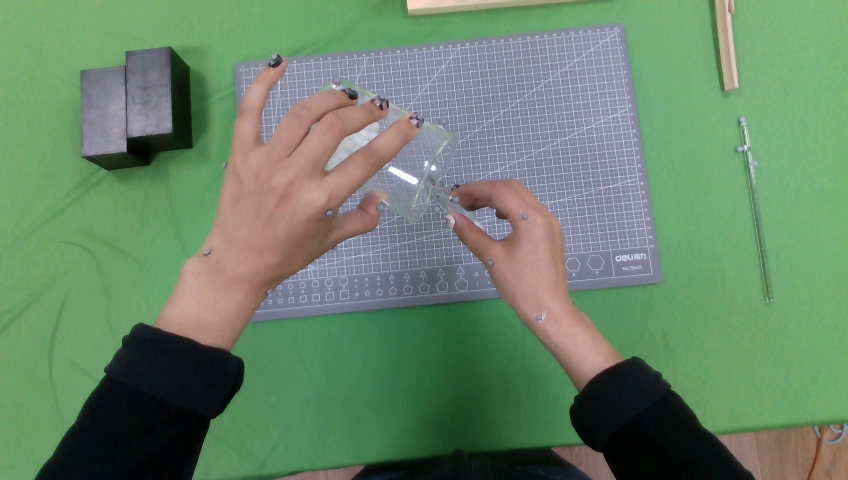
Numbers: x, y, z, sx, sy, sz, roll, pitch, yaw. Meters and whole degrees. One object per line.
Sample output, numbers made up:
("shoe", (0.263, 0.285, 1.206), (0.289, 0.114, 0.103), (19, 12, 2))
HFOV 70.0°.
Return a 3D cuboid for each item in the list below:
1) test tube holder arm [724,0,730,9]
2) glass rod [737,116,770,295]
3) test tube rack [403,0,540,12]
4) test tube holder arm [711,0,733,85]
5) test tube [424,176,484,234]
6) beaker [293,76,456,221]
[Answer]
("test tube holder arm", (0.340, -0.305, 0.693), (0.010, 0.015, 0.087), (5, 80, -27))
("glass rod", (0.356, -0.039, 0.657), (0.008, 0.008, 0.199), (-4, 81, 1))
("test tube rack", (0.094, -0.315, 0.670), (0.242, 0.085, 0.066), (-5, 81, 1))
("test tube holder arm", (0.335, -0.261, 0.684), (0.013, 0.015, 0.178), (5, 81, -27))
("test tube", (0.031, -0.028, 0.550), (0.017, 0.151, 0.017), (-4, 76, 18))
("beaker", (-0.037, -0.070, 0.448), (0.100, 0.084, 0.074), (28, 88, 6))
